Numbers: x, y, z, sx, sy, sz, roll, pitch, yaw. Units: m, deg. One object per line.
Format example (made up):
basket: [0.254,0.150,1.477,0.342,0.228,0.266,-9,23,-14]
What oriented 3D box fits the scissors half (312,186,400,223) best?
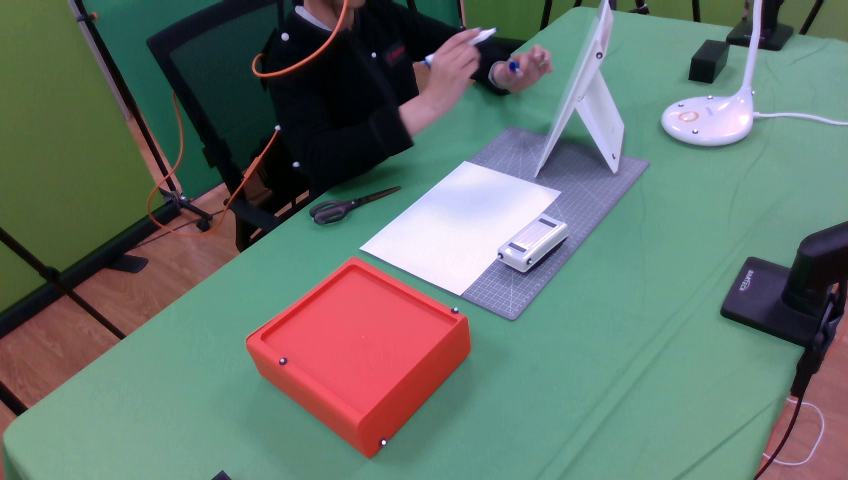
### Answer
scissors half: [-0.118,-0.066,1.088,0.176,0.013,0.040,-25,37,-24]

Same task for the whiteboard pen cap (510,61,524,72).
whiteboard pen cap: [0.178,-0.332,1.157,0.018,0.018,0.033,18,13,28]

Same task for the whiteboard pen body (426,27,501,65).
whiteboard pen body: [0.070,-0.341,1.055,0.140,0.017,0.017,-23,40,7]

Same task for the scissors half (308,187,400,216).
scissors half: [-0.126,-0.075,1.105,0.176,0.013,0.039,-15,29,-10]

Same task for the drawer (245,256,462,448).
drawer: [-0.089,0.136,0.792,0.210,0.073,0.195,26,51,34]

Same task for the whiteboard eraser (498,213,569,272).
whiteboard eraser: [0.168,0.006,0.924,0.113,0.042,0.055,-36,48,-28]

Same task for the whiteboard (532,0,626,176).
whiteboard: [0.320,-0.259,1.050,0.144,0.306,0.217,21,45,5]

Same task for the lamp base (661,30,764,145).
lamp base: [0.535,-0.287,1.096,0.179,0.181,0.159,-10,40,-4]

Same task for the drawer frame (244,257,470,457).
drawer frame: [-0.084,0.138,0.788,0.212,0.083,0.202,25,50,33]
